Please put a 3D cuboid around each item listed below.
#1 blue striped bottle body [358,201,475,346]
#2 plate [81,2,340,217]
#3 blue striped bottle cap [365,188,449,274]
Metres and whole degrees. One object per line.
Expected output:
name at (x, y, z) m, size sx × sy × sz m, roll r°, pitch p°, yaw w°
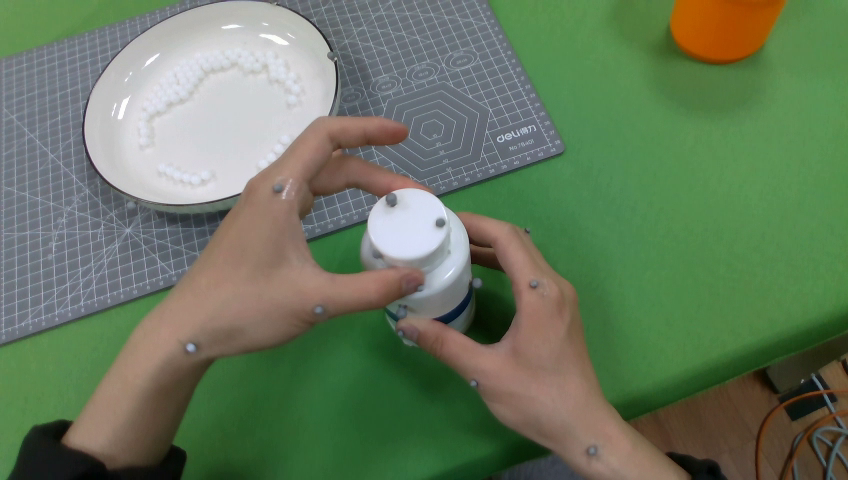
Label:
blue striped bottle body at (-0.003, 0.018, 0.369) m, size 0.063 × 0.122 × 0.062 m, roll -3°, pitch 62°, yaw 6°
plate at (-0.168, -0.106, 0.494) m, size 0.207 × 0.039 × 0.206 m, roll -2°, pitch 63°, yaw 5°
blue striped bottle cap at (-0.009, -0.005, 0.322) m, size 0.044 × 0.021 × 0.044 m, roll -1°, pitch 61°, yaw 3°
